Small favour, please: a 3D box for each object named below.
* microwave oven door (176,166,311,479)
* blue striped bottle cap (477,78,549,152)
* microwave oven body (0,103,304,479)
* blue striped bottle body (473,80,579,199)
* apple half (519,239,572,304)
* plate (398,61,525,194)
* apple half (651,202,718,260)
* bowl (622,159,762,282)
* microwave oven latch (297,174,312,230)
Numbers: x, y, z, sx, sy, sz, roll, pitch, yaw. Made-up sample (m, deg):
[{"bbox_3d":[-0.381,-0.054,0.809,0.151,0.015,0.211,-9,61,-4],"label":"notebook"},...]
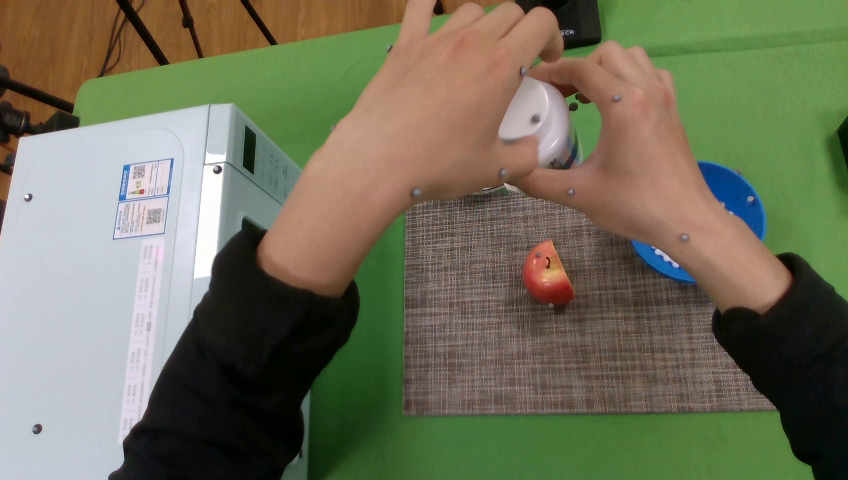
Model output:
[{"bbox_3d":[-0.202,0.121,0.726,0.039,0.246,0.353,-7,71,13],"label":"microwave oven door"},{"bbox_3d":[0.057,-0.081,0.390,0.044,0.021,0.044,-4,74,16],"label":"blue striped bottle cap"},{"bbox_3d":[-0.344,0.099,0.774,0.325,0.262,0.439,-6,72,12],"label":"microwave oven body"},{"bbox_3d":[0.074,-0.073,0.438,0.063,0.121,0.063,-3,80,20],"label":"blue striped bottle body"},{"bbox_3d":[0.148,0.046,0.766,0.053,0.075,0.080,-25,72,10],"label":"apple half"},{"bbox_3d":[0.066,-0.159,0.877,0.207,0.039,0.206,-4,72,13],"label":"plate"},{"bbox_3d":[0.317,-0.015,0.733,0.081,0.033,0.081,-5,70,13],"label":"apple half"},{"bbox_3d":[0.317,-0.014,0.738,0.151,0.077,0.150,-5,72,14],"label":"bowl"},{"bbox_3d":[-0.181,-0.054,0.887,0.030,0.030,0.078,-8,72,12],"label":"microwave oven latch"}]
